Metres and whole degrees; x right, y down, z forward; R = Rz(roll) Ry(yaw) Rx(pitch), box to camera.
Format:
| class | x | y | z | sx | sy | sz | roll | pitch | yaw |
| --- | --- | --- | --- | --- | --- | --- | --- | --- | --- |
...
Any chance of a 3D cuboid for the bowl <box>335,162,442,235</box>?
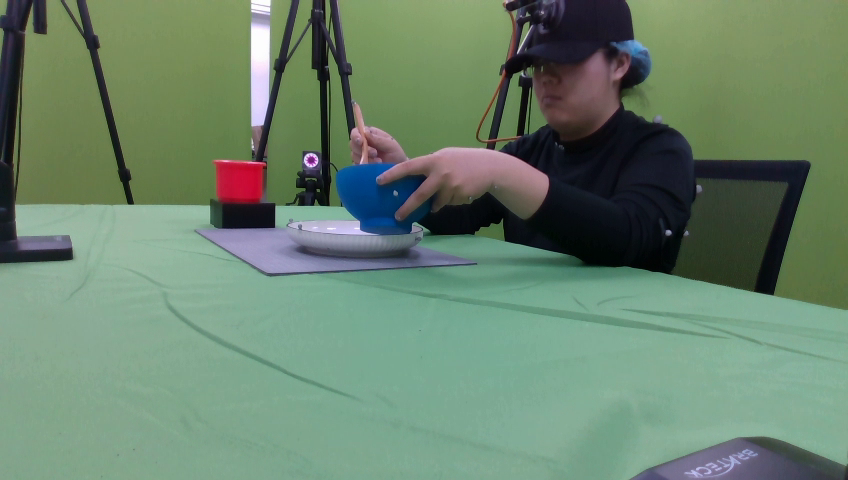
| class | x | y | z | sx | sy | sz | roll | pitch | yaw |
| --- | --- | --- | --- | --- | --- | --- | --- | --- | --- |
| bowl | -0.053 | -0.051 | 0.853 | 0.151 | 0.076 | 0.151 | 2 | -10 | 1 |

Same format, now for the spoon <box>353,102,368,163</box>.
| class | x | y | z | sx | sy | sz | roll | pitch | yaw |
| --- | --- | --- | --- | --- | --- | --- | --- | --- | --- |
| spoon | -0.093 | -0.140 | 0.922 | 0.021 | 0.193 | 0.042 | -26 | -36 | 28 |

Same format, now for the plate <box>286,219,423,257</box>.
| class | x | y | z | sx | sy | sz | roll | pitch | yaw |
| --- | --- | --- | --- | --- | --- | --- | --- | --- | --- |
| plate | -0.105 | -0.003 | 0.922 | 0.208 | 0.039 | 0.207 | 3 | 7 | 0 |
